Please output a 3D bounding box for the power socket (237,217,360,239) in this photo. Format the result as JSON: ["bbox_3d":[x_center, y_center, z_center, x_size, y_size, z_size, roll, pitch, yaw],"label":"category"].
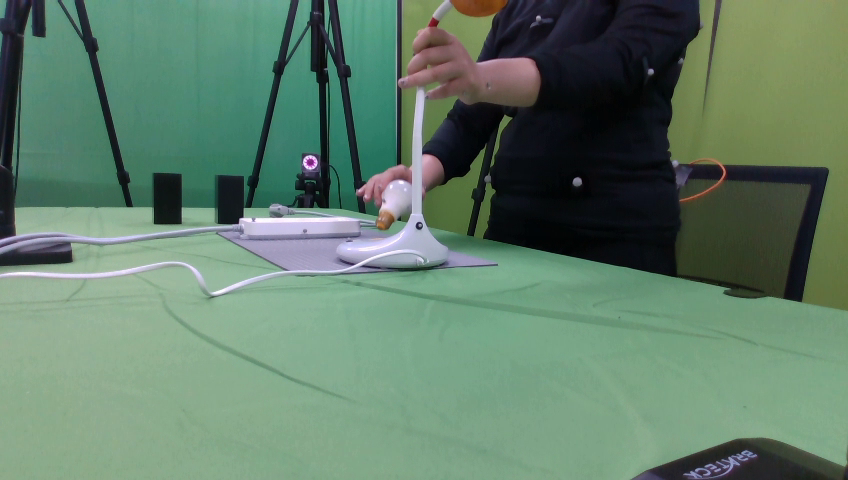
[{"bbox_3d":[-0.220,-0.023,1.080,0.228,0.032,0.072,-2,8,-33],"label":"power socket"}]

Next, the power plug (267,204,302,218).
[{"bbox_3d":[-0.327,-0.060,1.404,0.073,0.035,0.052,22,-14,-25],"label":"power plug"}]

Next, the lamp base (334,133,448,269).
[{"bbox_3d":[-0.034,-0.057,0.831,0.161,0.180,0.178,-3,12,-36],"label":"lamp base"}]

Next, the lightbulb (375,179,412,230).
[{"bbox_3d":[-0.052,-0.057,1.007,0.059,0.059,0.108,6,46,25],"label":"lightbulb"}]

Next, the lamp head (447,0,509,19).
[{"bbox_3d":[0.061,-0.323,0.704,0.112,0.122,0.112,5,-3,1],"label":"lamp head"}]
